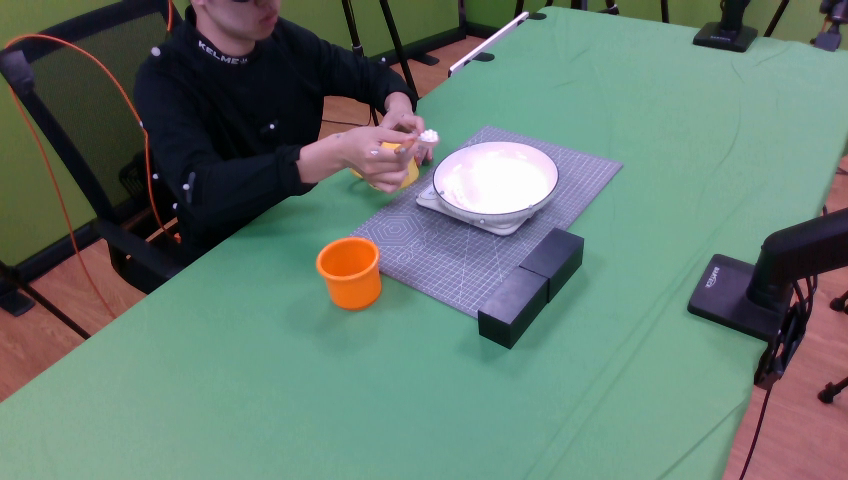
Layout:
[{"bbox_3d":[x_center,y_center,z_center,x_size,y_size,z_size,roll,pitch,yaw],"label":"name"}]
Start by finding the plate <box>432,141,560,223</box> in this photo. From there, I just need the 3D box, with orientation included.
[{"bbox_3d":[0.118,-0.094,0.999,0.209,0.038,0.208,-5,41,4],"label":"plate"}]

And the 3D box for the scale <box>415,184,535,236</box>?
[{"bbox_3d":[0.099,-0.079,1.035,0.199,0.032,0.149,23,48,31],"label":"scale"}]

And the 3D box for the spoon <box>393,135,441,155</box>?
[{"bbox_3d":[-0.014,-0.148,0.934,0.041,0.021,0.194,1,11,17],"label":"spoon"}]

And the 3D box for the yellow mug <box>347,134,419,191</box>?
[{"bbox_3d":[-0.078,-0.142,1.115,0.131,0.064,0.099,-6,39,3],"label":"yellow mug"}]
